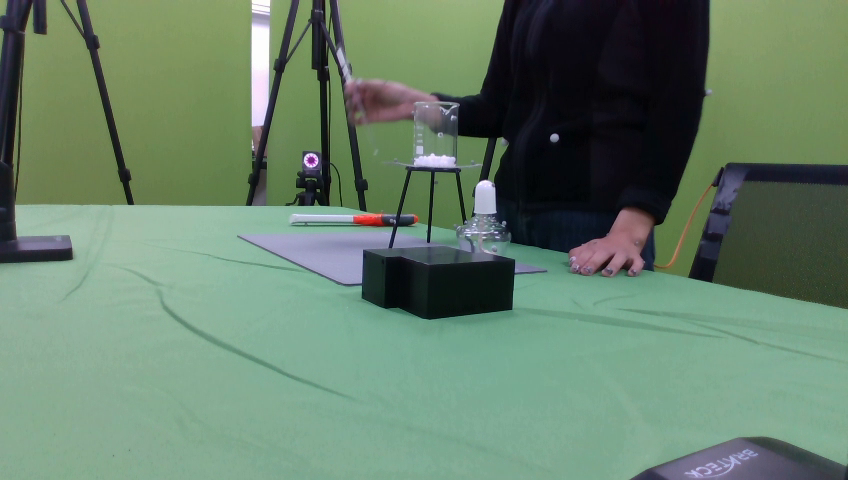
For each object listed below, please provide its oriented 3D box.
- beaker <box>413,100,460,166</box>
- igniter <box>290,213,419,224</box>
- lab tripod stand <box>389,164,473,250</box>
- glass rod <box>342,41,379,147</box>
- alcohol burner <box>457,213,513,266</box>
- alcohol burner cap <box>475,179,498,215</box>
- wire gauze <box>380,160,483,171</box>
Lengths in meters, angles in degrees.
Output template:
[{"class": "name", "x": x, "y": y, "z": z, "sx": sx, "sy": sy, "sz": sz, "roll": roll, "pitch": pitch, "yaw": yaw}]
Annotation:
[{"class": "beaker", "x": 0.020, "y": -0.167, "z": 0.953, "sx": 0.073, "sy": 0.100, "sz": 0.084, "roll": 6, "pitch": 9, "yaw": 26}, {"class": "igniter", "x": -0.143, "y": -0.046, "z": 1.288, "sx": 0.278, "sy": 0.025, "sz": 0.057, "roll": -1, "pitch": -3, "yaw": -24}, {"class": "lab tripod stand", "x": 0.011, "y": -0.054, "z": 0.960, "sx": 0.148, "sy": 0.131, "sz": 0.148, "roll": 2, "pitch": 9, "yaw": 0}, {"class": "glass rod", "x": -0.111, "y": -0.256, "z": 1.062, "sx": 0.008, "sy": 0.199, "sz": 0.008, "roll": -18, "pitch": -3, "yaw": -1}, {"class": "alcohol burner", "x": 0.084, "y": -0.025, "z": 0.837, "sx": 0.078, "sy": 0.119, "sz": 0.078, "roll": 0, "pitch": 8, "yaw": 0}, {"class": "alcohol burner cap", "x": 0.086, "y": -0.061, "z": 0.833, "sx": 0.034, "sy": 0.048, "sz": 0.034, "roll": -1, "pitch": 11, "yaw": 0}, {"class": "wire gauze", "x": 0.011, "y": -0.119, "z": 0.951, "sx": 0.122, "sy": 0.011, "sz": 0.124, "roll": -5, "pitch": 12, "yaw": -32}]
